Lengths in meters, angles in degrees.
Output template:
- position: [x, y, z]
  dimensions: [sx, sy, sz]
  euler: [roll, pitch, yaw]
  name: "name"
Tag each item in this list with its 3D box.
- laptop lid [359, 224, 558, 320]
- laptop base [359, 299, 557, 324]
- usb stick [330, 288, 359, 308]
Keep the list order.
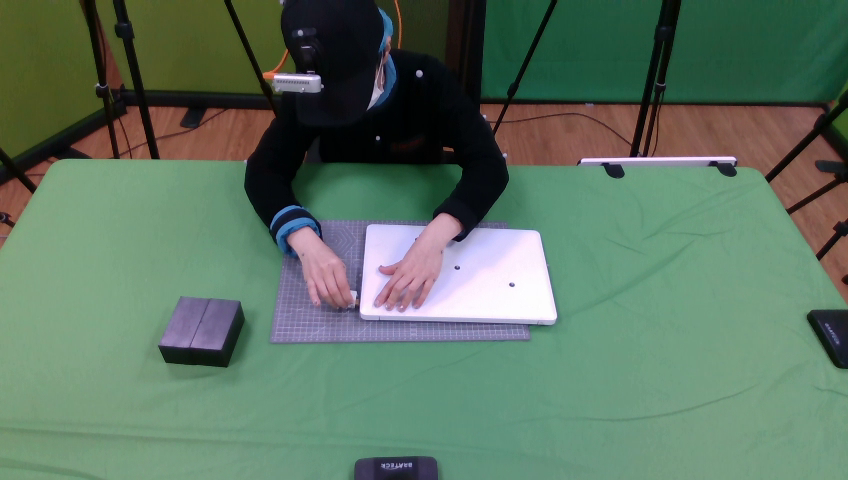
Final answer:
- position: [0.062, 0.054, 1.138]
  dimensions: [0.357, 0.013, 0.240]
  euler: [3, 44, -2]
  name: "laptop lid"
- position: [0.061, 0.063, 1.145]
  dimensions: [0.354, 0.023, 0.234]
  euler: [2, 43, -3]
  name: "laptop base"
- position: [-0.136, 0.103, 1.070]
  dimensions: [0.059, 0.027, 0.021]
  euler: [10, 44, -4]
  name: "usb stick"
